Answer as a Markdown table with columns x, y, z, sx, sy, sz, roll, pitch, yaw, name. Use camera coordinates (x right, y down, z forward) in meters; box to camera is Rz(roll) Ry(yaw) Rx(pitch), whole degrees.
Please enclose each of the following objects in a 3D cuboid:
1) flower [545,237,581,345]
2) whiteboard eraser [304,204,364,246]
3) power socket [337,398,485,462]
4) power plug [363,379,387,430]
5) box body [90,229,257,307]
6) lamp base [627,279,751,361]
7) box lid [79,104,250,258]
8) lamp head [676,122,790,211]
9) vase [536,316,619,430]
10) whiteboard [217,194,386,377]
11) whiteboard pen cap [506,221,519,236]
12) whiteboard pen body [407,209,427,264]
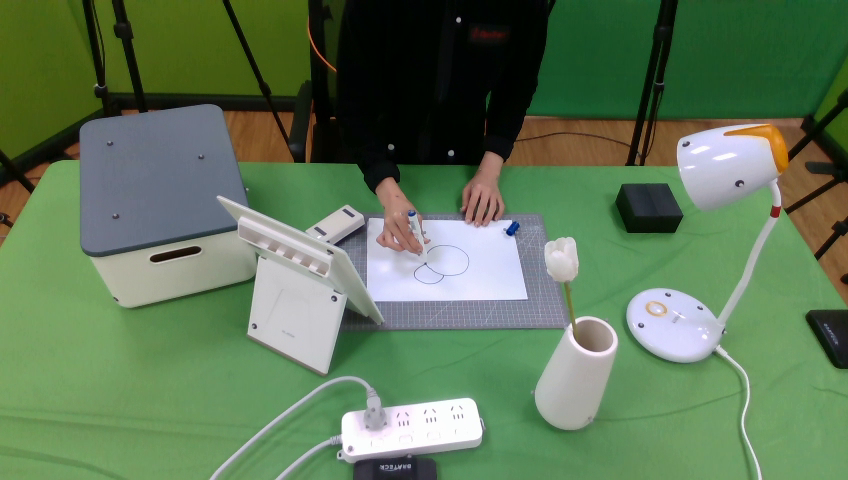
| x | y | z | sx | sy | sz | roll | pitch | yaw | name |
| --- | --- | --- | --- | --- | --- | --- | --- | --- | --- |
| 0.213 | 0.137 | 0.846 | 0.038 | 0.364 | 0.044 | 22 | 55 | 40 | flower |
| -0.175 | -0.022 | 1.188 | 0.055 | 0.042 | 0.112 | 36 | 53 | 26 | whiteboard eraser |
| -0.018 | 0.285 | 0.914 | 0.227 | 0.033 | 0.071 | -4 | 46 | -8 | power socket |
| -0.071 | 0.252 | 0.911 | 0.035 | 0.053 | 0.072 | 3 | 40 | 0 | power plug |
| -0.471 | -0.070 | 1.131 | 0.254 | 0.161 | 0.361 | -14 | 49 | -17 | box body |
| 0.460 | 0.100 | 1.027 | 0.178 | 0.181 | 0.160 | 27 | 51 | 17 | lamp base |
| -0.467 | -0.121 | 1.075 | 0.264 | 0.015 | 0.369 | -13 | 49 | -17 | box lid |
| 0.423 | -0.104 | 0.819 | 0.122 | 0.113 | 0.112 | -13 | 33 | 40 | lamp head |
| 0.229 | 0.200 | 0.901 | 0.098 | 0.201 | 0.097 | 3 | 46 | -3 | vase |
| -0.212 | 0.093 | 0.938 | 0.216 | 0.307 | 0.143 | 24 | 70 | 17 | whiteboard |
| 0.179 | -0.023 | 1.233 | 0.018 | 0.018 | 0.033 | 27 | 52 | 20 | whiteboard pen cap |
| -0.010 | -0.003 | 1.115 | 0.017 | 0.141 | 0.017 | -8 | 45 | 8 | whiteboard pen body |
